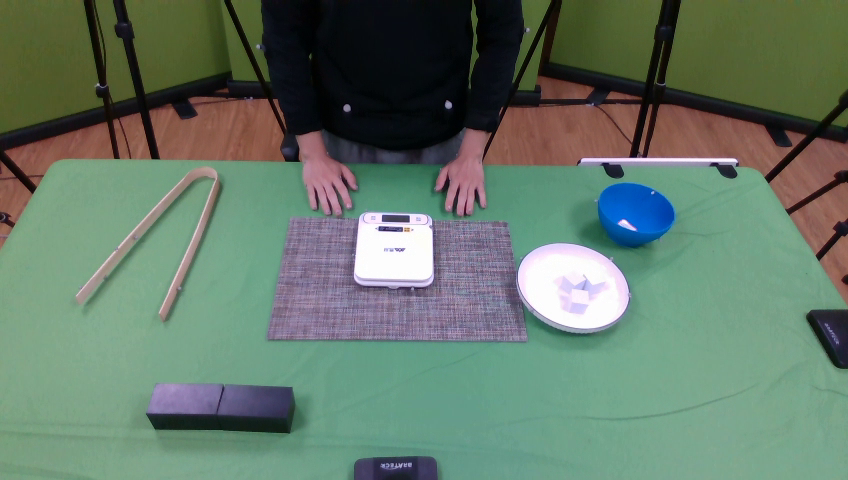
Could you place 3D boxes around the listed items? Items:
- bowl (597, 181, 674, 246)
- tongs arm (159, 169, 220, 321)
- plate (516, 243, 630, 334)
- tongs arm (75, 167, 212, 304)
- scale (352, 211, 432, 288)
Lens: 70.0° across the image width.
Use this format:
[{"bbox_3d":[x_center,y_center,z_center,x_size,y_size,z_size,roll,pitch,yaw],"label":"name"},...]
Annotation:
[{"bbox_3d":[0.418,-0.042,1.230,0.151,0.077,0.150,2,46,-2],"label":"bowl"},{"bbox_3d":[-0.446,-0.005,1.164,0.028,0.028,0.385,1,46,0],"label":"tongs arm"},{"bbox_3d":[0.272,0.092,1.120,0.208,0.039,0.206,2,46,-2],"label":"plate"},{"bbox_3d":[-0.525,-0.021,1.167,0.051,0.026,0.383,13,46,7],"label":"tongs arm"},{"bbox_3d":[-0.060,0.010,1.171,0.149,0.032,0.199,2,46,-3],"label":"scale"}]
